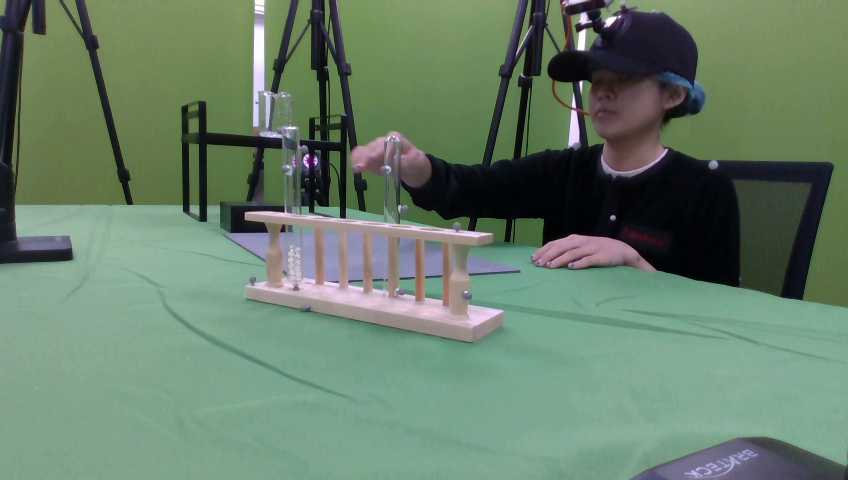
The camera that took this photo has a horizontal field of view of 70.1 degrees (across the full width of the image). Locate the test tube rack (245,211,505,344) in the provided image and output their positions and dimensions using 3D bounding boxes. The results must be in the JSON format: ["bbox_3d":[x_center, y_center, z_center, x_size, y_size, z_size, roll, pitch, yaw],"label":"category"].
[{"bbox_3d":[-0.049,0.024,0.547,0.241,0.085,0.067,7,8,28],"label":"test tube rack"}]

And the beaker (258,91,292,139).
[{"bbox_3d":[-0.331,-0.276,1.343,0.074,0.100,0.083,0,8,-20],"label":"beaker"}]

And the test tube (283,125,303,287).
[{"bbox_3d":[-0.121,-0.030,0.558,0.017,0.150,0.017,1,11,0],"label":"test tube"}]

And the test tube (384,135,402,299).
[{"bbox_3d":[-0.028,-0.019,0.550,0.017,0.150,0.017,1,9,0],"label":"test tube"}]
